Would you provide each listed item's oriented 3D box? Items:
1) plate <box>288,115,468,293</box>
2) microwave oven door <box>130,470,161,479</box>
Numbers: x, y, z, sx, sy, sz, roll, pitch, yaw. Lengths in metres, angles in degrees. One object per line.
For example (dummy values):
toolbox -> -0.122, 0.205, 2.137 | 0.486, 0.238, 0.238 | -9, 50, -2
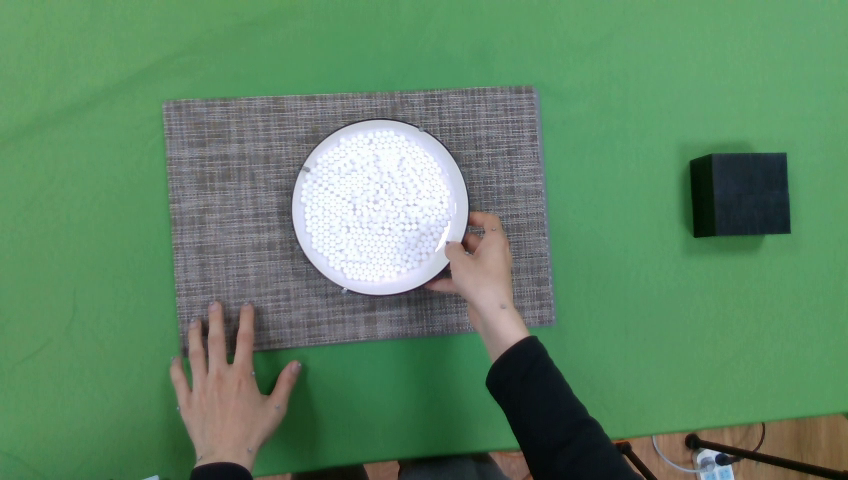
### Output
plate -> -0.052, -0.041, 0.714 | 0.209, 0.038, 0.209 | 0, 87, -1
microwave oven door -> -0.453, 0.328, 0.553 | 0.356, 0.243, 0.039 | -18, 90, -7
